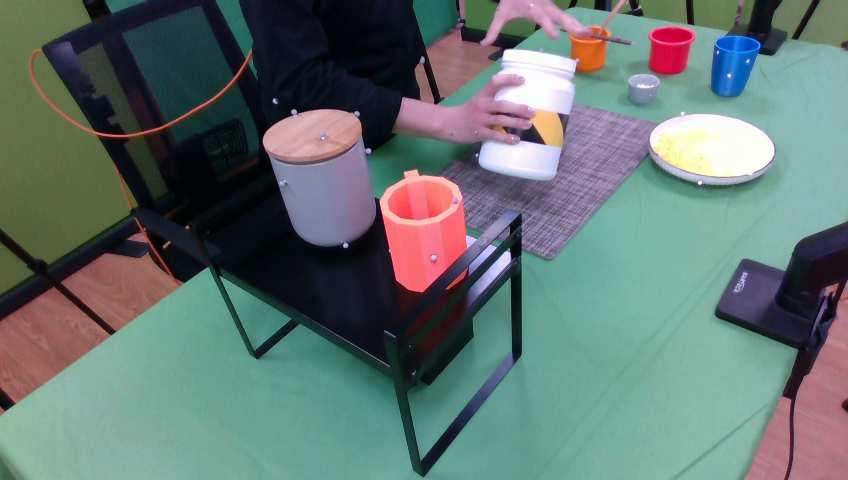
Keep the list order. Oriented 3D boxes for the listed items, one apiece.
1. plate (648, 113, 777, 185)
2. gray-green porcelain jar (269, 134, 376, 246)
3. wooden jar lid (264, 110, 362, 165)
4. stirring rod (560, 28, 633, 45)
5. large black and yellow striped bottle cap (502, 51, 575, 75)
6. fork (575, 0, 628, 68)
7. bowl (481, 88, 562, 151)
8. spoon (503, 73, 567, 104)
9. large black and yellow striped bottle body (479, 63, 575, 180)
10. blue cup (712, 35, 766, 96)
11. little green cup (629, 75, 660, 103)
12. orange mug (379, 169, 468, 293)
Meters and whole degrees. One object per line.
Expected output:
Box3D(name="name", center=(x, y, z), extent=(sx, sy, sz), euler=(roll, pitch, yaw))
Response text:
Box3D(name="plate", center=(0.506, -0.158, 1.073), extent=(0.209, 0.038, 0.208), euler=(-5, 40, 4))
Box3D(name="gray-green porcelain jar", center=(-0.115, -0.064, 0.715), extent=(0.106, 0.127, 0.105), euler=(-4, 40, 4))
Box3D(name="wooden jar lid", center=(-0.122, -0.112, 0.673), extent=(0.108, 0.021, 0.108), euler=(-4, 37, 4))
Box3D(name="stirring rod", center=(0.382, -0.453, 1.345), extent=(0.174, 0.006, 0.014), euler=(26, 52, 34))
Box3D(name="large black and yellow striped bottle cap", center=(0.180, -0.278, 0.953), extent=(0.115, 0.019, 0.115), euler=(10, 12, -2))
Box3D(name="fork", center=(0.413, -0.481, 1.377), extent=(0.207, 0.019, 0.028), euler=(-57, 43, 12))
Box3D(name="bowl", center=(0.186, -0.223, 1.161), extent=(0.151, 0.077, 0.150), euler=(-4, 40, 4))
Box3D(name="spoon", center=(0.249, -0.336, 1.332), extent=(0.194, 0.022, 0.041), euler=(-32, 33, -25))
Box3D(name="large black and yellow striped bottle body", center=(0.167, -0.198, 0.973), extent=(0.131, 0.184, 0.130), euler=(10, 14, -2))
Box3D(name="blue cup", center=(0.627, -0.350, 1.227), extent=(0.092, 0.100, 0.092), euler=(-4, 39, 4))
Box3D(name="little green cup", center=(0.458, -0.314, 1.260), extent=(0.061, 0.039, 0.061), euler=(-4, 40, 4))
Box3D(name="orange mug", center=(-0.002, -0.019, 0.665), extent=(0.083, 0.101, 0.125), euler=(-12, 45, -4))
